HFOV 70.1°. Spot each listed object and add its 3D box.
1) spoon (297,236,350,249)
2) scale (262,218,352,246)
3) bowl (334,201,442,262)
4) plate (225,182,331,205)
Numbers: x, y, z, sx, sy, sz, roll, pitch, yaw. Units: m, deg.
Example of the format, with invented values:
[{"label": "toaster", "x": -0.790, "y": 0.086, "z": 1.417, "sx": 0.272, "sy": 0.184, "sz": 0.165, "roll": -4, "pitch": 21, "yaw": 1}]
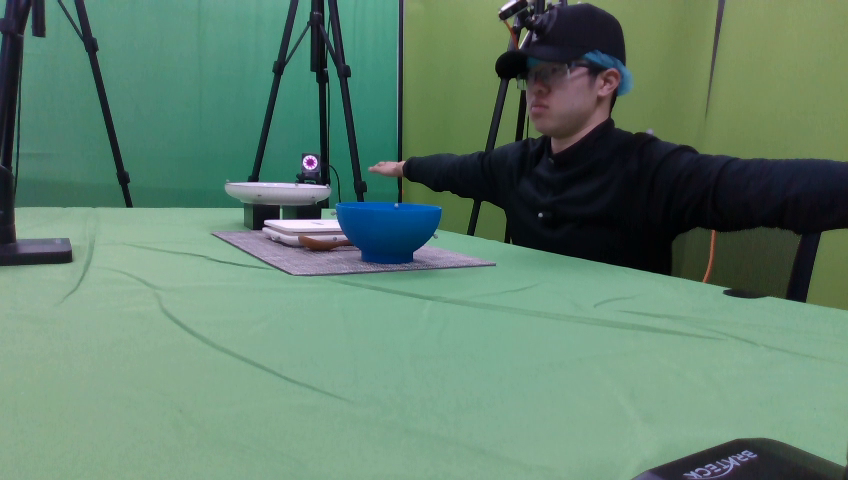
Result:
[{"label": "spoon", "x": -0.103, "y": 0.002, "z": 0.943, "sx": 0.195, "sy": 0.021, "sz": 0.041, "roll": -2, "pitch": -6, "yaw": -30}, {"label": "scale", "x": -0.160, "y": -0.016, "z": 1.028, "sx": 0.202, "sy": 0.031, "sz": 0.148, "roll": -2, "pitch": 9, "yaw": -32}, {"label": "bowl", "x": -0.051, "y": -0.012, "z": 0.848, "sx": 0.151, "sy": 0.077, "sz": 0.151, "roll": 2, "pitch": 7, "yaw": 0}, {"label": "plate", "x": -0.294, "y": -0.096, "z": 1.229, "sx": 0.209, "sy": 0.038, "sz": 0.209, "roll": 3, "pitch": 7, "yaw": 0}]
